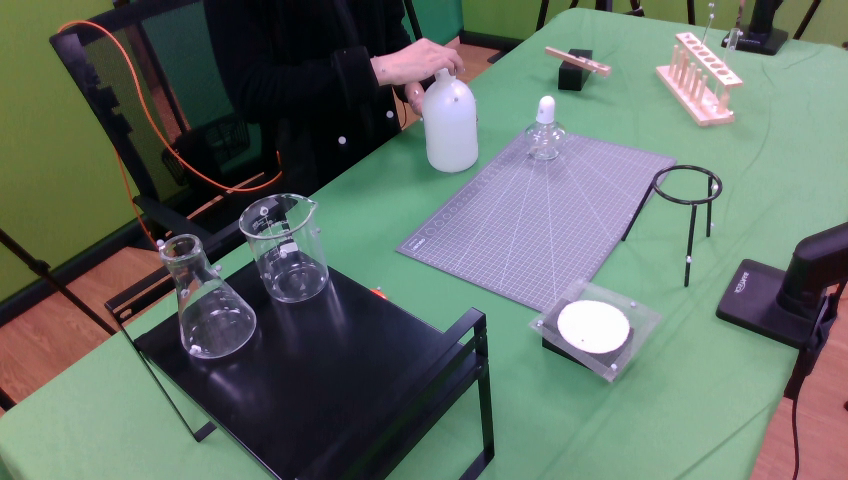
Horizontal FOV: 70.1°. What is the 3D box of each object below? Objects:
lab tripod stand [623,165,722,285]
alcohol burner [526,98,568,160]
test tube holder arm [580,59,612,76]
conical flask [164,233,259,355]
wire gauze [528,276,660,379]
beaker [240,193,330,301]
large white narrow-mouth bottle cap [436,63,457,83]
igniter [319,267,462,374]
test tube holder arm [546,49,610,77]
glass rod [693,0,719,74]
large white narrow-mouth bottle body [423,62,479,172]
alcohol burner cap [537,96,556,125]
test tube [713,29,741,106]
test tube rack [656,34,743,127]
[{"bbox_3d":[0.365,-0.030,0.875,0.148,0.132,0.147,-6,41,6],"label":"lab tripod stand"},{"bbox_3d":[0.228,-0.210,1.118,0.078,0.119,0.077,-5,43,5],"label":"alcohol burner"},{"bbox_3d":[0.363,-0.368,1.289,0.010,0.015,0.087,-27,43,-29],"label":"test tube holder arm"},{"bbox_3d":[-0.216,0.051,0.601,0.075,0.122,0.075,-4,40,4],"label":"conical flask"},{"bbox_3d":[0.213,0.103,0.763,0.124,0.011,0.122,30,52,35],"label":"wire gauze"},{"bbox_3d":[-0.144,0.009,0.656,0.084,0.101,0.073,-25,43,-19],"label":"beaker"},{"bbox_3d":[0.040,-0.293,1.055,0.038,0.024,0.037,-4,41,4],"label":"large white narrow-mouth bottle cap"},{"bbox_3d":[-0.059,0.107,0.862,0.274,0.025,0.057,28,62,34],"label":"igniter"},{"bbox_3d":[0.331,-0.387,1.315,0.013,0.015,0.177,-26,43,-28],"label":"test tube holder arm"},{"bbox_3d":[0.561,-0.401,1.214,0.008,0.200,0.008,-1,48,2],"label":"glass rod"},{"bbox_3d":[0.049,-0.229,1.111,0.102,0.195,0.101,-4,41,4],"label":"large white narrow-mouth bottle body"},{"bbox_3d":[0.223,-0.237,1.095,0.034,0.048,0.033,-1,42,1],"label":"alcohol burner cap"},{"bbox_3d":[0.572,-0.324,1.146,0.017,0.151,0.017,-3,39,3],"label":"test tube"},{"bbox_3d":[0.553,-0.331,1.233,0.067,0.085,0.241,-7,40,2],"label":"test tube rack"}]
